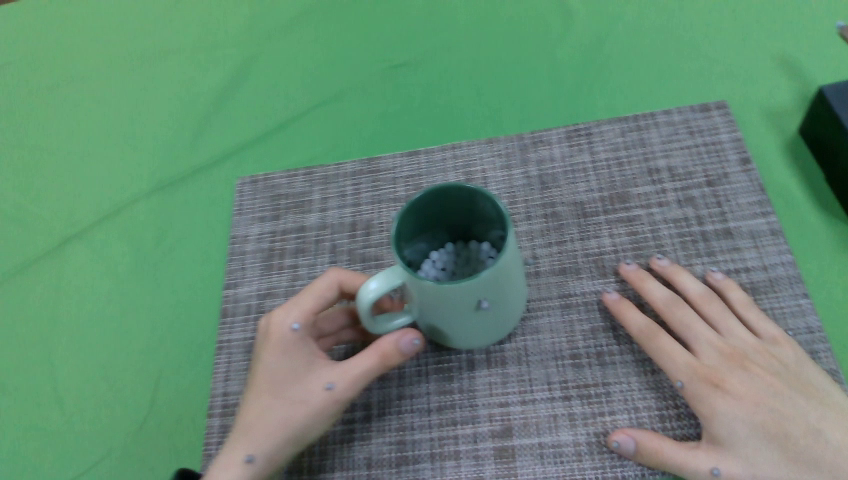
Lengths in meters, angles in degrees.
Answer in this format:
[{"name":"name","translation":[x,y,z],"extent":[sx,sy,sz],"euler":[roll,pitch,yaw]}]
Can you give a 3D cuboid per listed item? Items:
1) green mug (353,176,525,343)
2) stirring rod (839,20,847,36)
[{"name":"green mug","translation":[0.010,0.024,0.429],"extent":[0.125,0.106,0.091],"euler":[-28,59,-5]},{"name":"stirring rod","translation":[0.358,-0.104,0.436],"extent":[0.014,0.006,0.174],"euler":[-18,58,1]}]
